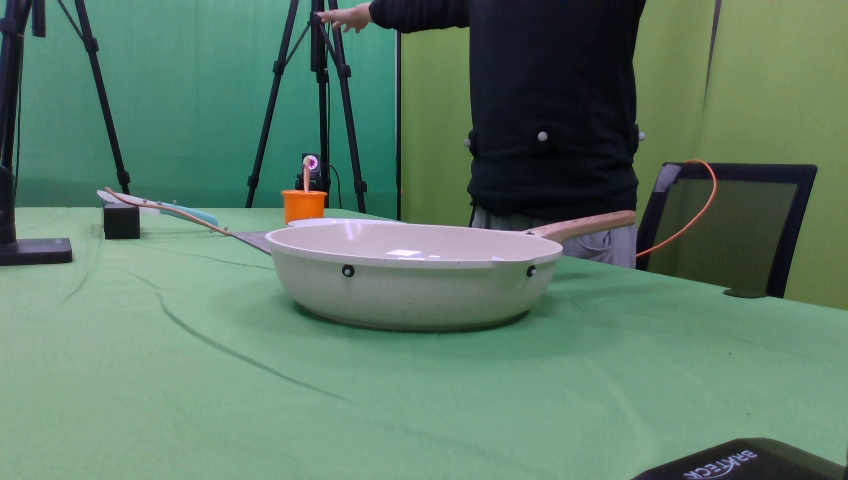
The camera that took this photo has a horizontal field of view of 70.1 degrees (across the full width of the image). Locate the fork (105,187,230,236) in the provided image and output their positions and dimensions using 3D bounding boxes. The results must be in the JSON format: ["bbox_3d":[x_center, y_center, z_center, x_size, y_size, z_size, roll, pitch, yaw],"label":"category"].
[{"bbox_3d":[-0.428,-0.046,1.020,0.208,0.018,0.028,19,-8,-26],"label":"fork"}]

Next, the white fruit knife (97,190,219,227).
[{"bbox_3d":[-0.468,-0.057,1.079,0.208,0.027,0.016,16,-1,-29],"label":"white fruit knife"}]

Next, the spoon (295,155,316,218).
[{"bbox_3d":[-0.247,-0.108,1.261,0.042,0.021,0.193,5,46,-16],"label":"spoon"}]

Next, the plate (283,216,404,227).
[{"bbox_3d":[-0.119,-0.009,0.968,0.208,0.039,0.207,3,7,0],"label":"plate"}]

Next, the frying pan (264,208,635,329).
[{"bbox_3d":[0.075,0.007,0.667,0.490,0.102,0.305,-12,15,-33],"label":"frying pan"}]
